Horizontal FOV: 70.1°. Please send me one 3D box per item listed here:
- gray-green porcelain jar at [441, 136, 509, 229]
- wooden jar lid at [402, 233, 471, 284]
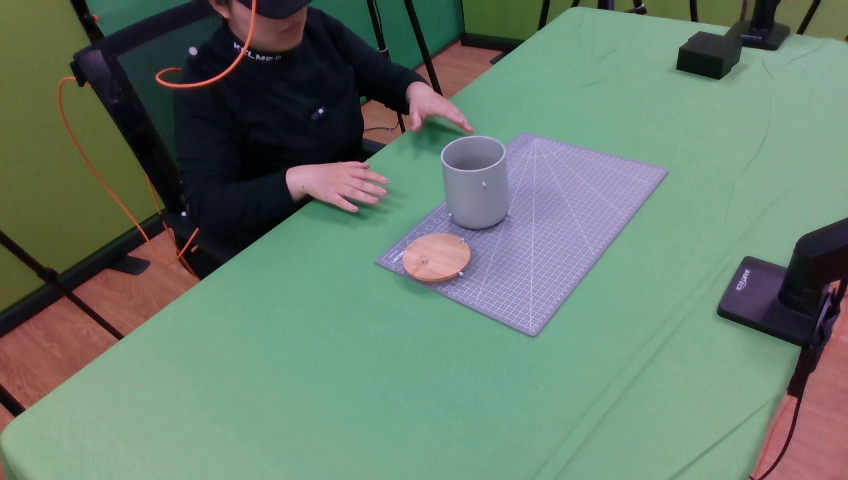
[{"bbox_3d":[0.086,-0.090,0.988,0.106,0.127,0.105,-5,40,5],"label":"gray-green porcelain jar"},{"bbox_3d":[0.020,0.030,0.941,0.108,0.021,0.108,-4,40,4],"label":"wooden jar lid"}]
